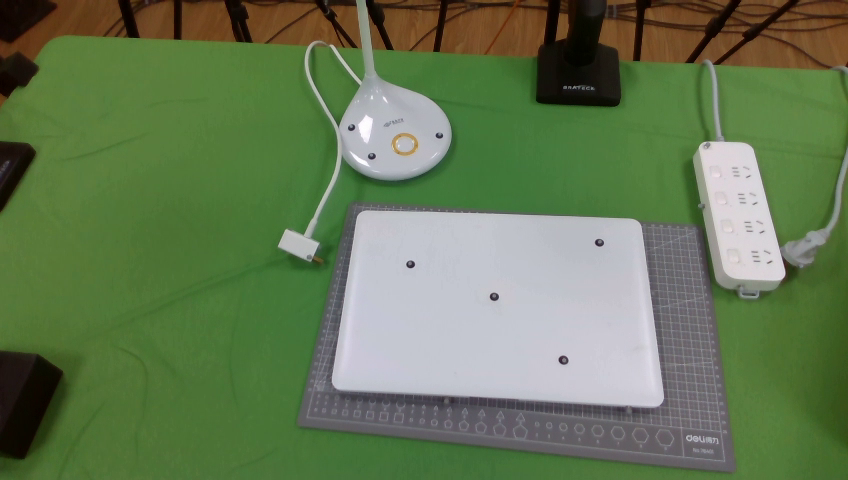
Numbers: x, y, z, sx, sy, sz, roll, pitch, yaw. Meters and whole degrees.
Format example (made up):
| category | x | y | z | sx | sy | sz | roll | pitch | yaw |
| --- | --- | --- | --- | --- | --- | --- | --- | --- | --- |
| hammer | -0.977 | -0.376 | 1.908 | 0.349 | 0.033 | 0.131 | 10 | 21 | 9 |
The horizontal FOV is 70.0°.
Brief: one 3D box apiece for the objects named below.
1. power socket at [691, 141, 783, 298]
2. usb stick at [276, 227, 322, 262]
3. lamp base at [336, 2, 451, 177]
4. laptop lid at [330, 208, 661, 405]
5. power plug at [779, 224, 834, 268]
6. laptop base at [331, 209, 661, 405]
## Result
| category | x | y | z | sx | sy | sz | roll | pitch | yaw |
| --- | --- | --- | --- | --- | --- | --- | --- | --- | --- |
| power socket | 0.384 | -0.036 | 0.751 | 0.072 | 0.033 | 0.225 | 4 | 58 | 4 |
| usb stick | -0.149 | 0.007 | 0.747 | 0.059 | 0.021 | 0.027 | 29 | 91 | -7 |
| lamp base | -0.054 | -0.202 | 0.790 | 0.160 | 0.182 | 0.177 | -30 | 58 | -15 |
| laptop lid | 0.080 | 0.066 | 0.695 | 0.356 | 0.013 | 0.239 | 3 | 60 | 5 |
| power plug | 0.452 | 0.012 | 0.713 | 0.073 | 0.053 | 0.035 | -6 | 52 | -19 |
| laptop base | 0.081 | 0.070 | 0.707 | 0.354 | 0.023 | 0.233 | 2 | 61 | 4 |
